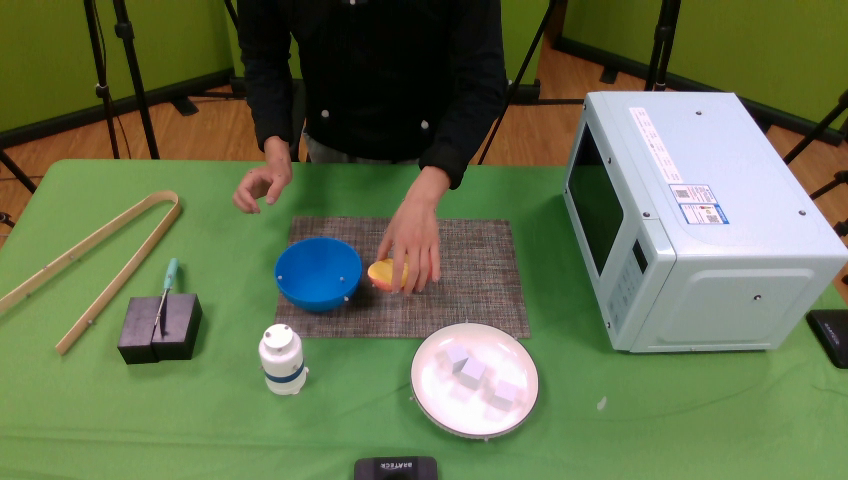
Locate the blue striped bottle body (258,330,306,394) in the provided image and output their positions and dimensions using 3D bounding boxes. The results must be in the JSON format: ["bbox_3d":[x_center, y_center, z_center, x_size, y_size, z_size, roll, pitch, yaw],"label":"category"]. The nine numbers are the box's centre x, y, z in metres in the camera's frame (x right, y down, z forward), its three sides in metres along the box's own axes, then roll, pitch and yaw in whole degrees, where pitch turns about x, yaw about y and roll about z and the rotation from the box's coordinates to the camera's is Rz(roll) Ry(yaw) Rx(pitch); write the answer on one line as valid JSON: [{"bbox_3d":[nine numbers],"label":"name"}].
[{"bbox_3d":[-0.220,0.182,0.937,0.063,0.121,0.062,2,46,-2],"label":"blue striped bottle body"}]

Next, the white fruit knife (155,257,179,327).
[{"bbox_3d":[-0.440,0.085,1.037,0.016,0.027,0.206,10,26,-19],"label":"white fruit knife"}]

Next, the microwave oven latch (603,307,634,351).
[{"bbox_3d":[0.332,0.153,1.044,0.030,0.029,0.078,0,45,-4],"label":"microwave oven latch"}]

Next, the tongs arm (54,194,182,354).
[{"bbox_3d":[-0.543,0.048,1.107,0.028,0.028,0.385,11,45,10],"label":"tongs arm"}]

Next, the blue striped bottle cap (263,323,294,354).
[{"bbox_3d":[-0.217,0.146,0.900,0.044,0.021,0.044,1,46,-1],"label":"blue striped bottle cap"}]

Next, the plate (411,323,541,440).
[{"bbox_3d":[0.082,0.228,0.976,0.208,0.039,0.206,2,45,-2],"label":"plate"}]

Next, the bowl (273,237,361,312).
[{"bbox_3d":[-0.186,0.074,1.069,0.151,0.077,0.150,3,46,-3],"label":"bowl"}]

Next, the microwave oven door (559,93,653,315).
[{"bbox_3d":[0.327,-0.074,1.123,0.039,0.245,0.353,-1,46,-5],"label":"microwave oven door"}]

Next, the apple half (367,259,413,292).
[{"bbox_3d":[-0.057,0.066,1.032,0.081,0.033,0.081,8,30,-4],"label":"apple half"}]

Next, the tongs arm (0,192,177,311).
[{"bbox_3d":[-0.618,0.019,1.123,0.050,0.026,0.384,23,47,17],"label":"tongs arm"}]

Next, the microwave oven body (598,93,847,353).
[{"bbox_3d":[0.475,-0.041,1.109,0.326,0.261,0.438,-1,45,-4],"label":"microwave oven body"}]

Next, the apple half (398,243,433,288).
[{"bbox_3d":[-0.012,0.046,1.115,0.053,0.075,0.080,-11,44,-20],"label":"apple half"}]
